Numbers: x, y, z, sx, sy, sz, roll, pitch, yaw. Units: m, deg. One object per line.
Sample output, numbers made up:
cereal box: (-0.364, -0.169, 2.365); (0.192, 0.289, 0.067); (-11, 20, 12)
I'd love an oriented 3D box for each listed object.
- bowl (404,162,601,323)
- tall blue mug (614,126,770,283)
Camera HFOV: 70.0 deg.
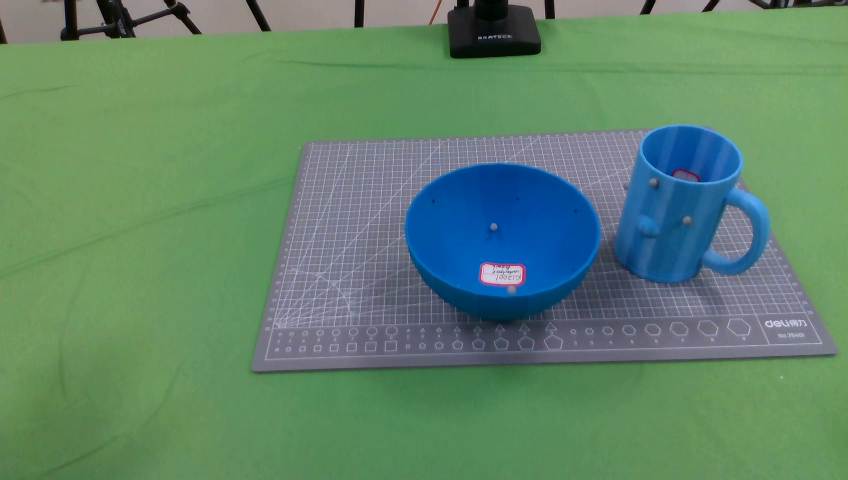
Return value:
bowl: (0.061, 0.014, 0.490); (0.151, 0.077, 0.150); (-1, 45, 2)
tall blue mug: (0.220, -0.024, 0.496); (0.107, 0.109, 0.077); (12, 47, 15)
